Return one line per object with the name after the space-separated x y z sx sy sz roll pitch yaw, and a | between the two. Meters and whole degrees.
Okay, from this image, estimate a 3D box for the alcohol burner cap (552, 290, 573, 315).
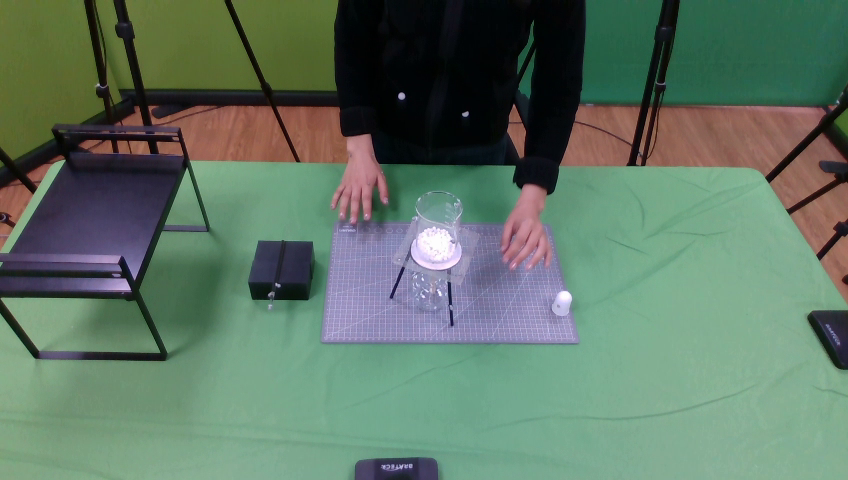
0.250 0.109 1.088 0.034 0.048 0.033 3 47 -3 | alcohol burner cap

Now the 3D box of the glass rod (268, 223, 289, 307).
-0.259 0.041 1.080 0.008 0.008 0.198 2 46 -2 | glass rod

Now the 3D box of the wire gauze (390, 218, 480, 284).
0.020 0.013 1.010 0.125 0.011 0.121 14 46 14 | wire gauze

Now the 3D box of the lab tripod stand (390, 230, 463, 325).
0.014 0.060 1.056 0.148 0.132 0.147 1 48 -1 | lab tripod stand

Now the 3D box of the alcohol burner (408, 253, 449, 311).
0.011 0.069 1.061 0.078 0.120 0.077 1 46 0 | alcohol burner

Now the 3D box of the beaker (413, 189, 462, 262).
0.022 -0.018 0.973 0.074 0.101 0.083 -19 51 -19 | beaker
